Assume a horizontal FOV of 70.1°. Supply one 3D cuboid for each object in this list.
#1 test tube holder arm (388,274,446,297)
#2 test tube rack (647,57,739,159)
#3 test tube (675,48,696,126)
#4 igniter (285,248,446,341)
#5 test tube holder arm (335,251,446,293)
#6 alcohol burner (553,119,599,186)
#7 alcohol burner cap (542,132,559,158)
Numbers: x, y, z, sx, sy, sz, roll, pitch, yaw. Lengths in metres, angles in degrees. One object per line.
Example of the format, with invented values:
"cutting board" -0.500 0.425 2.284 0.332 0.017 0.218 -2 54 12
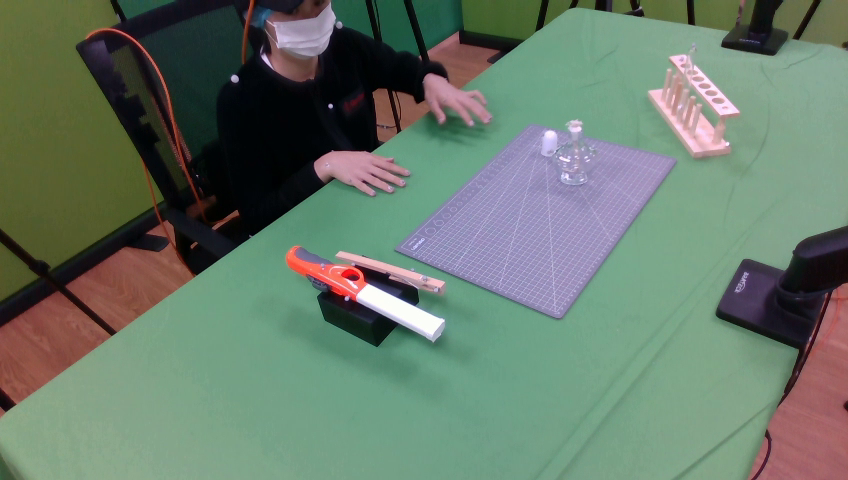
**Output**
"test tube holder arm" -0.010 0.060 0.838 0.087 0.010 0.015 17 40 24
"test tube rack" 0.504 -0.257 1.153 0.067 0.085 0.241 -7 40 1
"test tube" 0.481 -0.279 1.112 0.017 0.151 0.017 -5 40 5
"igniter" -0.091 0.069 0.831 0.274 0.025 0.057 22 47 27
"test tube holder arm" -0.050 0.043 0.853 0.177 0.013 0.015 17 40 24
"alcohol burner" 0.261 -0.153 1.042 0.078 0.119 0.077 -6 40 6
"alcohol burner cap" 0.237 -0.180 1.134 0.034 0.048 0.033 -5 41 5
